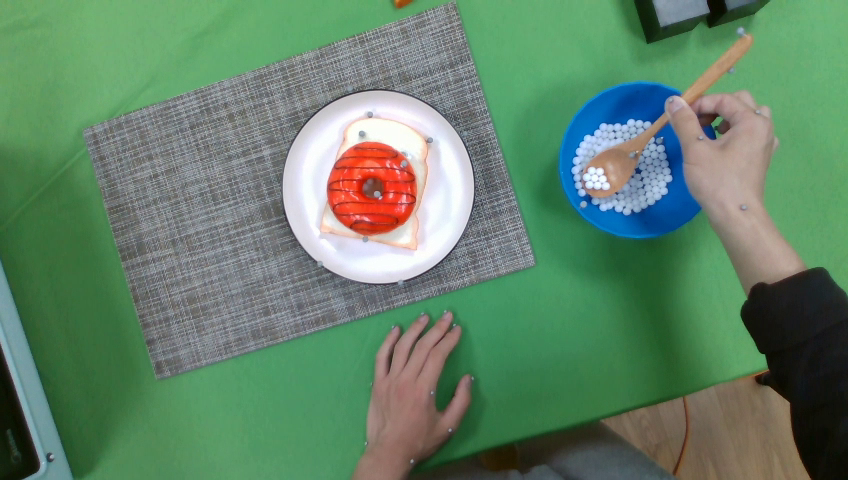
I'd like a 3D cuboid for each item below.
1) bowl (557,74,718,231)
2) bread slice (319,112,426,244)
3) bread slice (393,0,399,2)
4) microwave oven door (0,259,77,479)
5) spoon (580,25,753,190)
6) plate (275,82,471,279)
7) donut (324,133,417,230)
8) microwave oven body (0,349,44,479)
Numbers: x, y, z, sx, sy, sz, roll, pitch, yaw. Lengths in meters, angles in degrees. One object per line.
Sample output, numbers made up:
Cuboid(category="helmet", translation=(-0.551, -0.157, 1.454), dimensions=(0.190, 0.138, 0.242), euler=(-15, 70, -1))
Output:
Cuboid(category="bowl", translation=(0.206, -0.083, 0.615), dimensions=(0.151, 0.077, 0.151), euler=(0, 90, 5))
Cuboid(category="bread slice", translation=(-0.052, -0.069, 0.653), dimensions=(0.107, 0.018, 0.134), euler=(8, 92, 4))
Cuboid(category="bread slice", translation=(-0.021, -0.341, 0.659), dimensions=(0.105, 0.019, 0.131), euler=(-32, 90, 3))
Cuboid(category="microwave oven door", translation=(-0.477, 0.117, 0.575), dimensions=(0.039, 0.244, 0.355), euler=(-20, 89, 5))
Cuboid(category="spoon", translation=(0.218, -0.116, 0.557), dimensions=(0.041, 0.021, 0.194), euler=(48, 127, 7))
Cuboid(category="plate", translation=(-0.053, -0.062, 0.653), dimensions=(0.207, 0.039, 0.207), euler=(0, 91, 5))
Cuboid(category="donut", translation=(-0.055, -0.060, 0.625), dimensions=(0.099, 0.048, 0.099), euler=(0, 92, 5))
Cuboid(category="microwave oven body", translation=(-0.628, 0.125, 0.592), dimensions=(0.326, 0.260, 0.441), euler=(-19, 90, 4))
